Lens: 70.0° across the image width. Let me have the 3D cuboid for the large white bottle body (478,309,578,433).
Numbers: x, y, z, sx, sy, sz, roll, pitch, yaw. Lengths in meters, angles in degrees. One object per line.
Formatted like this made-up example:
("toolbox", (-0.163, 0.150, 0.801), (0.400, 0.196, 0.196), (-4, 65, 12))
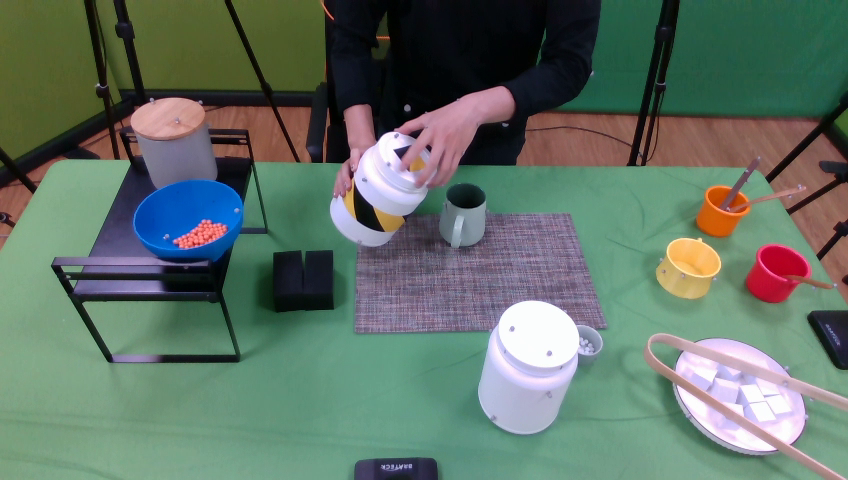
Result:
("large white bottle body", (0.156, 0.192, 0.913), (0.131, 0.185, 0.130), (2, 46, -2))

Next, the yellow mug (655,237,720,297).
("yellow mug", (0.509, 0.041, 1.167), (0.099, 0.064, 0.130), (24, 48, 18))

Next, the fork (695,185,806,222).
("fork", (0.658, -0.074, 1.230), (0.207, 0.019, 0.028), (-23, 36, 37))

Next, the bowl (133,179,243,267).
("bowl", (-0.339, -0.013, 0.895), (0.151, 0.077, 0.150), (2, 46, -2))

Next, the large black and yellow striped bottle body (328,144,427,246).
("large black and yellow striped bottle body", (-0.076, -0.089, 1.078), (0.131, 0.184, 0.130), (22, 44, -23))

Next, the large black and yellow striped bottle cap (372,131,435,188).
("large black and yellow striped bottle cap", (-0.033, -0.137, 1.023), (0.115, 0.019, 0.114), (22, 45, -24))

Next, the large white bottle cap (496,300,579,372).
("large white bottle cap", (0.160, 0.133, 0.852), (0.115, 0.018, 0.114), (3, 46, -2))

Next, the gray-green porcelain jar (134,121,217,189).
("gray-green porcelain jar", (-0.397, -0.141, 0.979), (0.106, 0.127, 0.105), (2, 47, -2))

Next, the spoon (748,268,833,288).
("spoon", (0.660, 0.068, 1.097), (0.041, 0.193, 0.021), (-4, 91, -6))

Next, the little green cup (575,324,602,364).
("little green cup", (0.269, 0.180, 1.036), (0.061, 0.039, 0.061), (2, 45, -2))

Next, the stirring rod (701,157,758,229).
("stirring rod", (0.634, -0.097, 1.257), (0.014, 0.006, 0.176), (38, 97, 30))

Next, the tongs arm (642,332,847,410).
("tongs arm", (0.546, 0.227, 0.968), (0.384, 0.026, 0.050), (22, 52, 13))

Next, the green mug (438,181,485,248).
("green mug", (0.071, -0.039, 1.177), (0.092, 0.105, 0.124), (12, 47, 7))

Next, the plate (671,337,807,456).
("plate", (0.503, 0.254, 0.984), (0.208, 0.039, 0.206), (2, 46, -2))

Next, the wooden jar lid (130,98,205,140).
("wooden jar lid", (-0.393, -0.183, 0.934), (0.108, 0.021, 0.107), (2, 43, -2))

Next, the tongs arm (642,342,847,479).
("tongs arm", (0.504, 0.279, 0.918), (0.386, 0.028, 0.028), (33, 59, 22))
